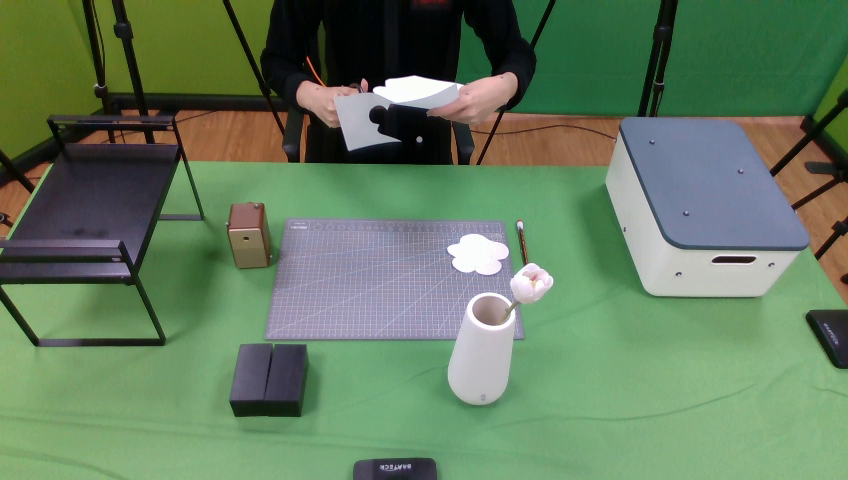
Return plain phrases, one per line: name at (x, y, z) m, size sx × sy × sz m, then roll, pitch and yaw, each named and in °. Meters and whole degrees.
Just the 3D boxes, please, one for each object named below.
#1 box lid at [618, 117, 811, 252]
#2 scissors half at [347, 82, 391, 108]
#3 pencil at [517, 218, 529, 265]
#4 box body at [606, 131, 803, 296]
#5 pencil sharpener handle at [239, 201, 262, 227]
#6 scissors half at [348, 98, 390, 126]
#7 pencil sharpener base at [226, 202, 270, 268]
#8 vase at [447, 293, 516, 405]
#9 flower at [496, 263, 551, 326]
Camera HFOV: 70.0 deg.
box lid at (0.534, -0.117, 1.149) m, size 0.263 × 0.015 × 0.369 m, roll 0°, pitch 47°, yaw -3°
scissors half at (-0.100, -0.253, 1.073) m, size 0.013 × 0.040 × 0.174 m, roll -16°, pitch 28°, yaw -26°
pencil at (0.201, 0.028, 1.197) m, size 0.012 × 0.012 × 0.193 m, roll 1°, pitch 48°, yaw -3°
box body at (0.530, -0.067, 1.204) m, size 0.254 × 0.161 × 0.361 m, roll 0°, pitch 46°, yaw -4°
pencil sharpener handle at (-0.325, -0.055, 1.150) m, size 0.036 × 0.068 × 0.030 m, roll -12°, pitch 46°, yaw 3°
scissors half at (-0.098, -0.232, 1.077) m, size 0.013 × 0.040 × 0.174 m, roll -11°, pitch 5°, yaw -27°
pencil sharpener base at (-0.323, -0.010, 1.123) m, size 0.061 × 0.107 × 0.076 m, roll -3°, pitch 46°, yaw -7°
vase at (0.091, 0.169, 0.921) m, size 0.098 × 0.201 × 0.097 m, roll 3°, pitch 47°, yaw -3°
flower at (0.102, 0.120, 0.853) m, size 0.044 × 0.363 × 0.038 m, roll -2°, pitch 64°, yaw -10°
